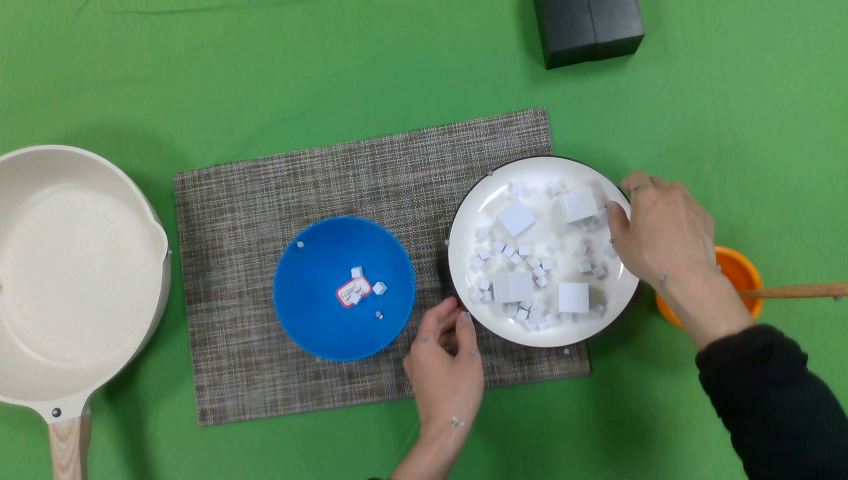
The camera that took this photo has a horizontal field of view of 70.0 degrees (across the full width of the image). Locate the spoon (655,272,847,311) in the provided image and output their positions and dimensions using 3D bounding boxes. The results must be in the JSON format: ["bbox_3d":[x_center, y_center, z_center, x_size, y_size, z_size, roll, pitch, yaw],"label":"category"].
[{"bbox_3d":[0.315,0.046,0.582,0.022,0.193,0.041,0,84,-38],"label":"spoon"}]

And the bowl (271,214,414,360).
[{"bbox_3d":[-0.080,0.051,0.657,0.151,0.077,0.151,-1,85,6],"label":"bowl"}]

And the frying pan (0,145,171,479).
[{"bbox_3d":[-0.405,0.138,0.676,0.307,0.103,0.485,-14,75,6],"label":"frying pan"}]

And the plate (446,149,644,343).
[{"bbox_3d":[0.128,0.007,0.659,0.207,0.039,0.207,-1,85,6],"label":"plate"}]
